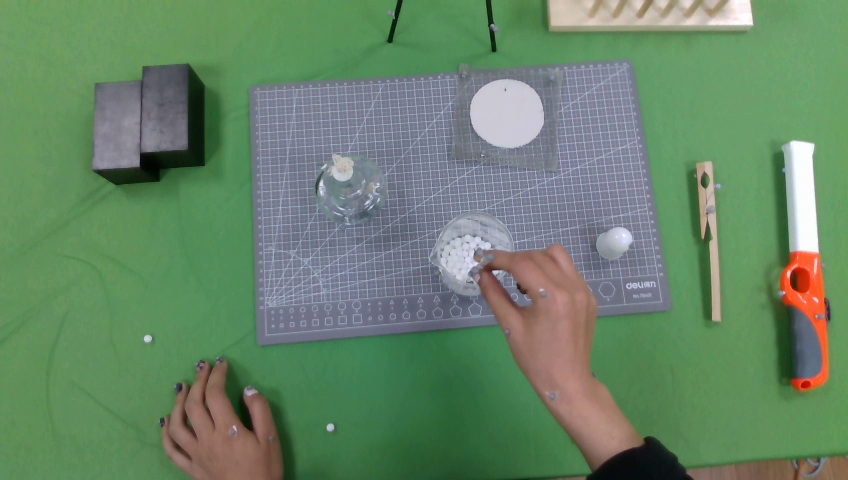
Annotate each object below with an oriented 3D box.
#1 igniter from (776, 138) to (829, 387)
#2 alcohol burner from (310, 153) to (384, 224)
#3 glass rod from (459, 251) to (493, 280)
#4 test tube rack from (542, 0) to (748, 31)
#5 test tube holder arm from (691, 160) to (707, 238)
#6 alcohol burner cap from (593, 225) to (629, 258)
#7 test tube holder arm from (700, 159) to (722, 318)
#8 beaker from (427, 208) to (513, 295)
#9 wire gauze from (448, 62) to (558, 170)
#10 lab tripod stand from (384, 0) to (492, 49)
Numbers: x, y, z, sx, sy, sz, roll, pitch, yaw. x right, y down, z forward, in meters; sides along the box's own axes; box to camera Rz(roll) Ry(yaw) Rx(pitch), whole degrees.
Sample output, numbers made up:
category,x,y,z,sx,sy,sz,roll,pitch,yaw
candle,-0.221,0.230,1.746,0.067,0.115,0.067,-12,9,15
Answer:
category,x,y,z,sx,sy,sz,roll,pitch,yaw
igniter,0.412,0.021,0.665,0.057,0.025,0.275,5,79,-10
alcohol burner,-0.082,-0.058,0.626,0.078,0.119,0.077,0,77,2
glass rod,0.044,0.025,0.550,0.008,0.200,0.008,0,82,-3
test tube rack,0.265,-0.295,0.696,0.242,0.085,0.066,-1,78,-1
test tube holder arm,0.311,-0.046,0.682,0.010,0.015,0.087,-8,77,34
alcohol burner cap,0.205,-0.001,0.656,0.034,0.048,0.033,0,78,0
test tube holder arm,0.317,-0.003,0.671,0.013,0.015,0.177,-9,76,33
beaker,0.044,0.018,0.620,0.084,0.100,0.073,-13,78,-3
wire gauze,0.092,-0.146,0.700,0.125,0.011,0.121,6,80,0
lab tripod stand,0.019,-0.280,0.665,0.148,0.132,0.148,0,80,-1
